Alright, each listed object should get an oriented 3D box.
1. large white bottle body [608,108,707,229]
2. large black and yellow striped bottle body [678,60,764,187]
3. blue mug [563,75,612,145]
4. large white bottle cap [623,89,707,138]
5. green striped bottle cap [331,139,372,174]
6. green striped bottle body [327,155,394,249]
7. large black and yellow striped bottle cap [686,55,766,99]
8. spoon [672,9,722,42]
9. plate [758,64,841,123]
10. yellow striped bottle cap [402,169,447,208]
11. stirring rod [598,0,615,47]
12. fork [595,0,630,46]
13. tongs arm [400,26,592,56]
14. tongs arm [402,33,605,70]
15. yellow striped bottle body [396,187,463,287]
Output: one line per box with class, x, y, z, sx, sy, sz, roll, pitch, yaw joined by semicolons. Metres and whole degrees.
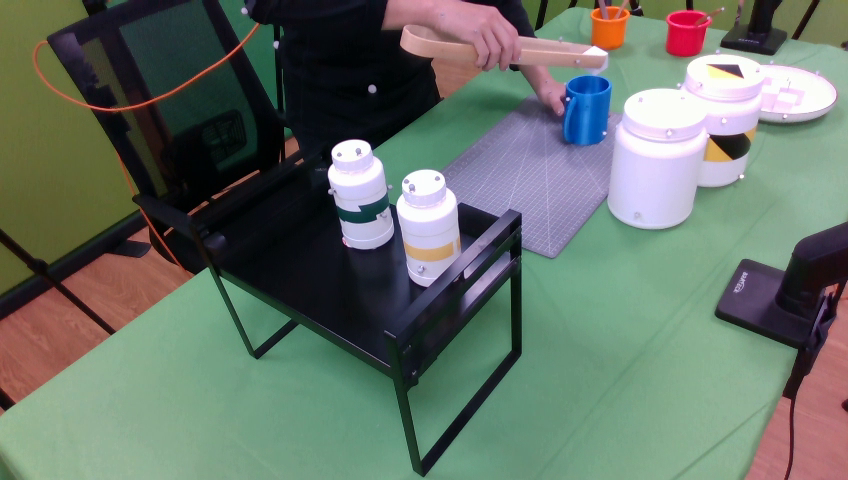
large white bottle body;0.361;-0.124;0.941;0.130;0.185;0.130;-5;41;4
large black and yellow striped bottle body;0.482;-0.196;1.008;0.131;0.185;0.130;-4;41;4
blue mug;0.299;-0.239;1.143;0.081;0.106;0.117;29;53;35
large white bottle cap;0.352;-0.187;0.886;0.115;0.018;0.114;-4;41;4
green striped bottle cap;-0.080;-0.092;0.665;0.044;0.020;0.044;-3;40;3
green striped bottle body;-0.073;-0.053;0.699;0.063;0.120;0.063;-5;41;4
large black and yellow striped bottle cap;0.474;-0.258;0.952;0.115;0.019;0.114;-5;41;5
spoon;0.606;-0.476;1.345;0.042;0.021;0.193;-6;-3;-2
plate;0.694;-0.283;1.189;0.207;0.039;0.206;-4;40;4
yellow striped bottle cap;0.000;-0.052;0.605;0.044;0.019;0.044;-5;42;5
stirring rod;0.437;-0.551;1.462;0.014;0.006;0.175;-11;83;1
fork;0.480;-0.556;1.453;0.028;0.019;0.207;41;103;40
tongs arm;0.135;-0.317;0.996;0.387;0.026;0.050;-2;43;-26
tongs arm;0.146;-0.300;0.979;0.390;0.028;0.028;-5;47;-29
yellow striped bottle body;0.006;-0.013;0.638;0.063;0.121;0.062;-5;41;4
